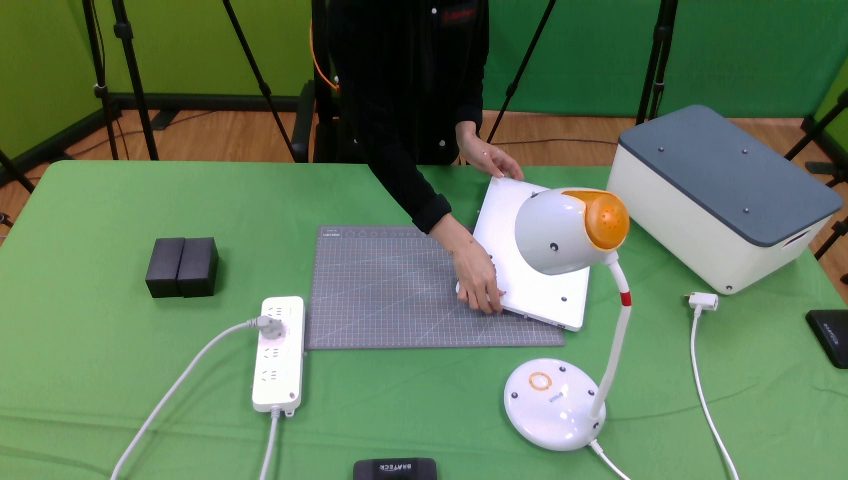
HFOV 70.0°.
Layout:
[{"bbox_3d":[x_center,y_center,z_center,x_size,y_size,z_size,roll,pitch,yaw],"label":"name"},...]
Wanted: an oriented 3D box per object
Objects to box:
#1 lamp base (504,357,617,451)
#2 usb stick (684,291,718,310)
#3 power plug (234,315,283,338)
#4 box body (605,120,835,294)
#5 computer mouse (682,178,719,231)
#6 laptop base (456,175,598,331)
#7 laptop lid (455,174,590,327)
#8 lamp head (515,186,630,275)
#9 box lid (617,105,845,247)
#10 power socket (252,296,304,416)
[{"bbox_3d":[0.220,0.211,0.903,0.160,0.181,0.178,-33,59,-30],"label":"lamp base"},{"bbox_3d":[0.509,0.111,1.121,0.059,0.021,0.027,6,54,46],"label":"usb stick"},{"bbox_3d":[-0.269,0.143,1.000,0.072,0.053,0.035,4,46,3],"label":"power plug"},{"bbox_3d":[0.582,-0.089,1.230,0.254,0.161,0.361,-22,52,-23],"label":"box body"},{"bbox_3d":[0.596,-0.078,1.290,0.117,0.041,0.062,56,44,-7],"label":"computer mouse"},{"bbox_3d":[0.213,0.012,1.195,0.235,0.023,0.352,15,47,7],"label":"laptop base"},{"bbox_3d":[0.212,0.004,1.187,0.241,0.013,0.355,17,47,7],"label":"laptop lid"},{"bbox_3d":[0.188,-0.013,0.728,0.112,0.112,0.122,-25,9,-25],"label":"lamp head"},{"bbox_3d":[0.586,-0.138,1.176,0.263,0.015,0.369,-22,51,-23],"label":"box lid"},{"bbox_3d":[-0.238,0.181,0.997,0.072,0.033,0.225,-3,47,-5],"label":"power socket"}]
